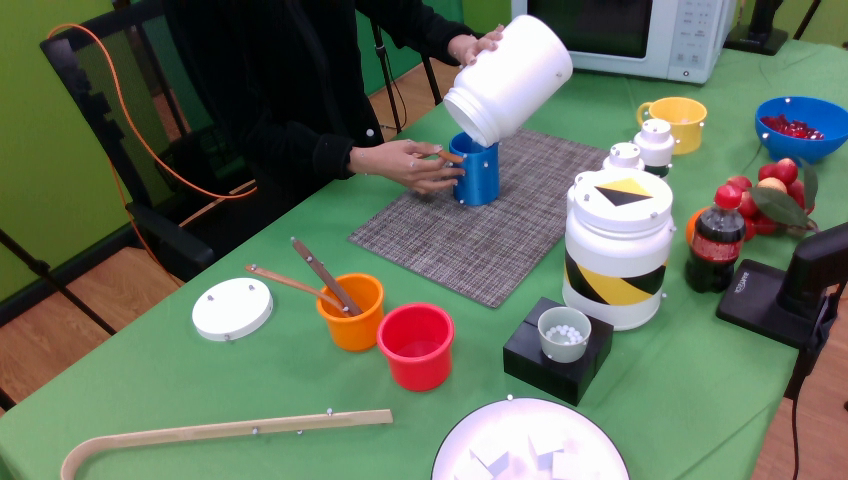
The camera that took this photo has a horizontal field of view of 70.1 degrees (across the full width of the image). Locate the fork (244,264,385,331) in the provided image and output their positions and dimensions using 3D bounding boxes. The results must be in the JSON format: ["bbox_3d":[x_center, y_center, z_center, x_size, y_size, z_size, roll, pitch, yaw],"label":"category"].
[{"bbox_3d":[-0.142,0.078,0.806,0.209,0.018,0.028,30,33,-24],"label":"fork"}]

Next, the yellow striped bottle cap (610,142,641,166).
[{"bbox_3d":[0.308,-0.131,0.925,0.044,0.019,0.044,-4,46,5],"label":"yellow striped bottle cap"}]

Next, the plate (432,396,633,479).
[{"bbox_3d":[0.112,0.261,0.634,0.209,0.038,0.208,-5,40,4],"label":"plate"}]

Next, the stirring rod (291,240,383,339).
[{"bbox_3d":[-0.119,0.068,0.825,0.176,0.006,0.014,49,59,-3],"label":"stirring rod"}]

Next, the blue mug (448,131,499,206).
[{"bbox_3d":[0.089,-0.135,1.050,0.082,0.106,0.116,1,41,11],"label":"blue mug"}]

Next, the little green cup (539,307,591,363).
[{"bbox_3d":[0.167,0.114,0.721,0.061,0.039,0.061,-4,43,4],"label":"little green cup"}]

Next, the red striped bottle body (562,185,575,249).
[{"bbox_3d":[0.247,-0.041,0.910,0.063,0.120,0.062,0,38,0],"label":"red striped bottle body"}]

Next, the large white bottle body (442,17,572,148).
[{"bbox_3d":[0.131,-0.250,0.978,0.184,0.132,0.129,-44,47,-2],"label":"large white bottle body"}]

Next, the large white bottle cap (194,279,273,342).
[{"bbox_3d":[-0.284,0.103,0.902,0.115,0.018,0.114,-4,40,4],"label":"large white bottle cap"}]

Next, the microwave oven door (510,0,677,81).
[{"bbox_3d":[0.354,-0.478,1.290,0.353,0.245,0.039,15,45,25],"label":"microwave oven door"}]

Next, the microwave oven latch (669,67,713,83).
[{"bbox_3d":[0.556,-0.349,1.261,0.078,0.029,0.030,16,46,27],"label":"microwave oven latch"}]

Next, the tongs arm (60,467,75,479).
[{"bbox_3d":[-0.239,0.301,0.649,0.386,0.028,0.028,6,49,16],"label":"tongs arm"}]

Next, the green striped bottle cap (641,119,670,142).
[{"bbox_3d":[0.371,-0.175,0.968,0.044,0.020,0.044,-4,42,4],"label":"green striped bottle cap"}]

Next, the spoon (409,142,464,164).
[{"bbox_3d":[0.020,-0.144,1.009,0.042,0.022,0.192,-37,21,-10],"label":"spoon"}]

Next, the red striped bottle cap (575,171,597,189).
[{"bbox_3d":[0.242,-0.081,0.876,0.044,0.018,0.044,-5,44,5],"label":"red striped bottle cap"}]

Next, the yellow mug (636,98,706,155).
[{"bbox_3d":[0.453,-0.217,1.128,0.100,0.064,0.129,-34,46,-27],"label":"yellow mug"}]

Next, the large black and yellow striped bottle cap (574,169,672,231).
[{"bbox_3d":[0.242,-0.051,0.738,0.115,0.019,0.114,-4,37,3],"label":"large black and yellow striped bottle cap"}]

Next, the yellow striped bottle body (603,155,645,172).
[{"bbox_3d":[0.314,-0.091,0.958,0.063,0.121,0.062,-4,40,4],"label":"yellow striped bottle body"}]

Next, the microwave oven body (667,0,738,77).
[{"bbox_3d":[0.462,-0.552,1.369,0.439,0.261,0.326,15,45,26],"label":"microwave oven body"}]

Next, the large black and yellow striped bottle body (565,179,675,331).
[{"bbox_3d":[0.254,0.014,0.793,0.131,0.185,0.130,-5,40,4],"label":"large black and yellow striped bottle body"}]

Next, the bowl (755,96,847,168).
[{"bbox_3d":[0.645,-0.177,1.041,0.151,0.077,0.150,-5,40,4],"label":"bowl"}]

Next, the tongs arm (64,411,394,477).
[{"bbox_3d":[-0.228,0.241,0.715,0.385,0.026,0.050,-5,43,4],"label":"tongs arm"}]

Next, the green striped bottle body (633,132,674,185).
[{"bbox_3d":[0.376,-0.135,1.001,0.063,0.120,0.063,-5,40,5],"label":"green striped bottle body"}]
